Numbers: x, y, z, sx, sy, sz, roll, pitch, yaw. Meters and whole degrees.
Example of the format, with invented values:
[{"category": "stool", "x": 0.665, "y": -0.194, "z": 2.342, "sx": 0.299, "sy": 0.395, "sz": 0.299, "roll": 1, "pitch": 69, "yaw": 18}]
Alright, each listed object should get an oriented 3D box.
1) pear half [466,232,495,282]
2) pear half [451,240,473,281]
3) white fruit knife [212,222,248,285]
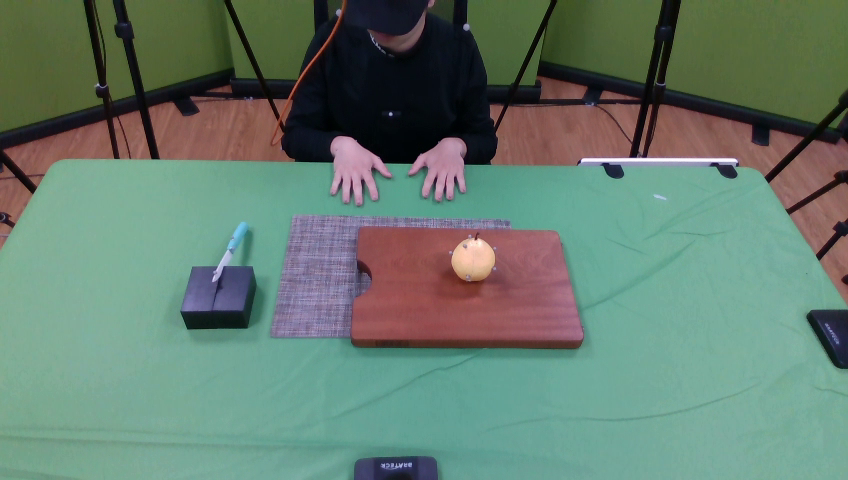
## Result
[{"category": "pear half", "x": 0.100, "y": 0.024, "z": 1.085, "sx": 0.056, "sy": 0.110, "sz": 0.076, "roll": -11, "pitch": 51, "yaw": -15}, {"category": "pear half", "x": 0.065, "y": 0.035, "z": 1.085, "sx": 0.031, "sy": 0.088, "sz": 0.070, "roll": -11, "pitch": 51, "yaw": -14}, {"category": "white fruit knife", "x": -0.355, "y": 0.020, "z": 1.111, "sx": 0.016, "sy": 0.027, "sz": 0.206, "roll": -1, "pitch": 30, "yaw": 0}]
